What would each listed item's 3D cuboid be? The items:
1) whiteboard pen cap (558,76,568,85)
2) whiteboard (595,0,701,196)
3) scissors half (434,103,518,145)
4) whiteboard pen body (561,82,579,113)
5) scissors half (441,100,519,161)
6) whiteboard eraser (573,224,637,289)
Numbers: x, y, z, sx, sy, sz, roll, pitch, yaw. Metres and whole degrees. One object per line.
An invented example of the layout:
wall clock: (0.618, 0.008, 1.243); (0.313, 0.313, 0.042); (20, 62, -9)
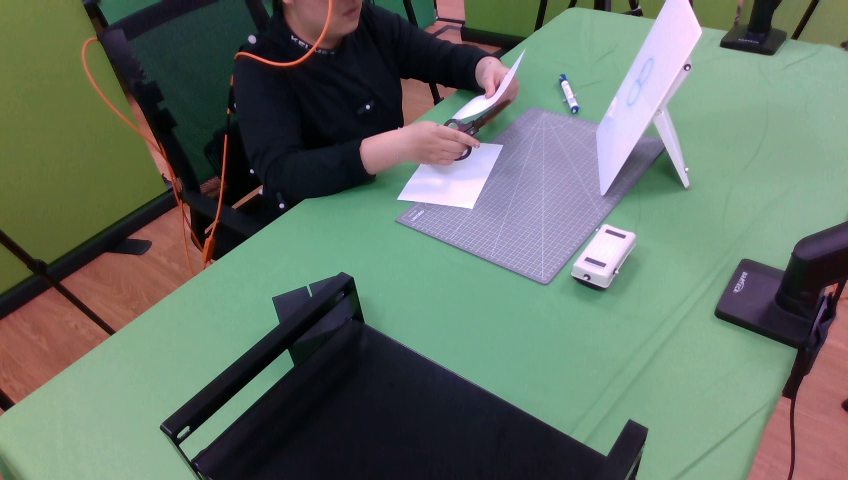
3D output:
whiteboard pen cap: (0.310, -0.350, 1.341); (0.018, 0.018, 0.033); (-6, 41, 2)
whiteboard: (0.421, -0.227, 1.010); (0.144, 0.305, 0.216); (18, 42, -2)
scissors half: (0.088, -0.207, 1.045); (0.174, 0.040, 0.013); (-15, 0, 34)
whiteboard pen body: (0.310, -0.311, 1.298); (0.017, 0.017, 0.140); (-6, 41, 2)
scissors half: (0.096, -0.188, 1.044); (0.040, 0.174, 0.013); (57, 33, 6)
whiteboard eraser: (0.267, 0.025, 0.891); (0.055, 0.042, 0.113); (19, 47, 31)
